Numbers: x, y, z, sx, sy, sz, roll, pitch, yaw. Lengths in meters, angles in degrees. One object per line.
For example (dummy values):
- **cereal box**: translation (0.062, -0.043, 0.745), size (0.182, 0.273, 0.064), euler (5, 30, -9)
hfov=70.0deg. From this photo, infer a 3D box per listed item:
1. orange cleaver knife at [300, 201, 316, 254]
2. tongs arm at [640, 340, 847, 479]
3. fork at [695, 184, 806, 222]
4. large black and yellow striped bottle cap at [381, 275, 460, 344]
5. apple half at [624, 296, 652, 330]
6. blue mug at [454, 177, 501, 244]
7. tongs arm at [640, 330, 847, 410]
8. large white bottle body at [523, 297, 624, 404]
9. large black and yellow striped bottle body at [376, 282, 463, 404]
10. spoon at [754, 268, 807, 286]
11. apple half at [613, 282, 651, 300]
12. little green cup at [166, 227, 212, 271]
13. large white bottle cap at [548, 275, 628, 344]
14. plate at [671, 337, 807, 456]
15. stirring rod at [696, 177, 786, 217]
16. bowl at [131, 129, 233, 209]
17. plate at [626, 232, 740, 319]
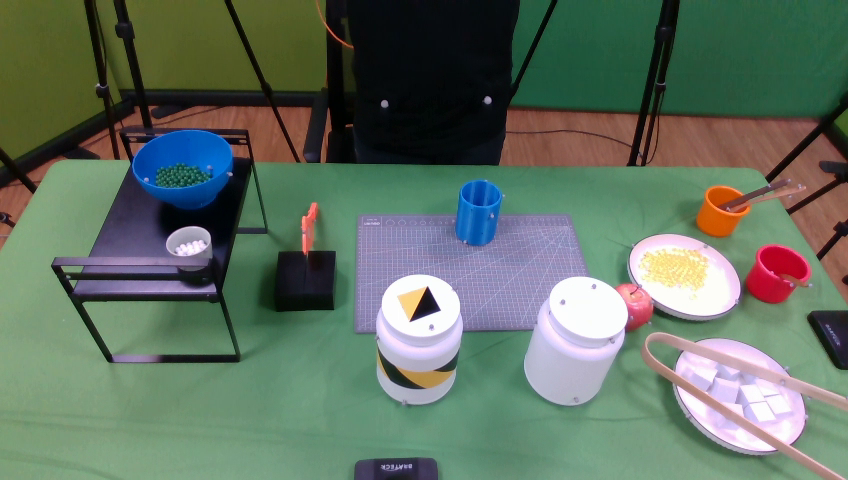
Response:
- **orange cleaver knife**: translation (-0.221, -0.027, 1.160), size (0.012, 0.077, 0.210), euler (-1, 15, -4)
- **tongs arm**: translation (0.500, 0.277, 0.919), size (0.386, 0.028, 0.028), euler (34, 59, 22)
- **fork**: translation (0.658, -0.074, 1.230), size (0.207, 0.019, 0.028), euler (-24, 34, 36)
- **large black and yellow striped bottle cap**: translation (-0.005, 0.098, 0.875), size (0.115, 0.019, 0.114), euler (2, 45, -2)
- **apple half**: translation (0.368, 0.135, 1.060), size (0.081, 0.081, 0.032), euler (-11, 43, -14)
- **blue mug**: translation (0.106, -0.067, 1.208), size (0.082, 0.106, 0.116), euler (6, 46, 1)
- **tongs arm**: translation (0.543, 0.225, 0.969), size (0.384, 0.026, 0.050), euler (22, 52, 13)
- **large white bottle body**: translation (0.235, 0.159, 0.952), size (0.131, 0.185, 0.130), euler (2, 47, -2)
- **large black and yellow striped bottle body**: translation (-0.010, 0.155, 0.937), size (0.131, 0.185, 0.130), euler (2, 47, -2)
- **spoon**: translation (0.647, 0.065, 1.100), size (0.041, 0.021, 0.194), euler (15, 3, 10)
- **apple half**: translation (0.356, 0.109, 1.086), size (0.081, 0.075, 0.053), euler (-13, 44, -12)
- **little green cup**: translation (-0.344, 0.014, 0.895), size (0.061, 0.039, 0.061), euler (3, 46, -3)
- **large white bottle cap**: translation (0.240, 0.100, 0.890), size (0.115, 0.018, 0.114), euler (3, 47, -3)
- **plate**: translation (0.504, 0.254, 0.984), size (0.208, 0.039, 0.206), euler (2, 46, -2)
- **stirring rod**: translation (0.648, -0.087, 1.244), size (0.176, 0.006, 0.014), euler (-25, 50, 29)
- **bowl**: translation (-0.381, -0.103, 0.978), size (0.151, 0.077, 0.150), euler (2, 46, -2)
- **plate**: translation (0.488, 0.071, 1.157), size (0.209, 0.038, 0.208), euler (3, 46, -3)
